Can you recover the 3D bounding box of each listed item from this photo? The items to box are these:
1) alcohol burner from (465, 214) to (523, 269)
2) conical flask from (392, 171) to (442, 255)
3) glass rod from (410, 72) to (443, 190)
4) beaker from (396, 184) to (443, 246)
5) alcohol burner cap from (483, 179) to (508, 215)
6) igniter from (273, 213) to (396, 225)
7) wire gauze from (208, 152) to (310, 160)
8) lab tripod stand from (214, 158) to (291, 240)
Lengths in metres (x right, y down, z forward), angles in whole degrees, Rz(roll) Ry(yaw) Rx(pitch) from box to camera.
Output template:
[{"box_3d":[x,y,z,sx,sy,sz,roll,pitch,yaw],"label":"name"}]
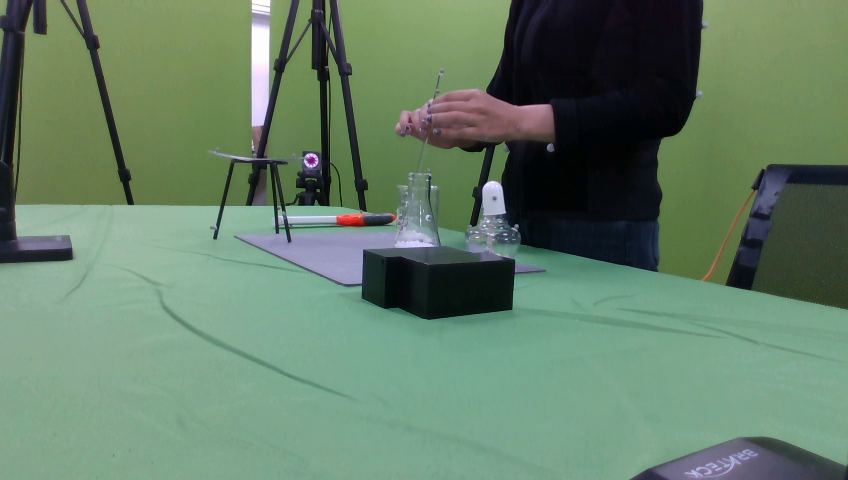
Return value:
[{"box_3d":[0.094,-0.022,0.815,0.078,0.119,0.078,0,7,0],"label":"alcohol burner"},{"box_3d":[-0.008,-0.041,0.903,0.075,0.122,0.075,2,7,0],"label":"conical flask"},{"box_3d":[0.004,-0.174,0.985,0.008,0.199,0.008,13,23,-5],"label":"glass rod"},{"box_3d":[-0.011,-0.043,1.005,0.083,0.100,0.074,8,9,38],"label":"beaker"},{"box_3d":[0.094,-0.057,0.810,0.034,0.048,0.034,-8,6,1],"label":"alcohol burner cap"},{"box_3d":[-0.178,-0.044,1.258,0.278,0.025,0.057,-3,-1,-39],"label":"igniter"},{"box_3d":[-0.270,-0.135,0.993,0.124,0.011,0.122,8,8,41],"label":"wire gauze"},{"box_3d":[-0.268,-0.068,1.002,0.148,0.131,0.148,3,6,0],"label":"lab tripod stand"}]
